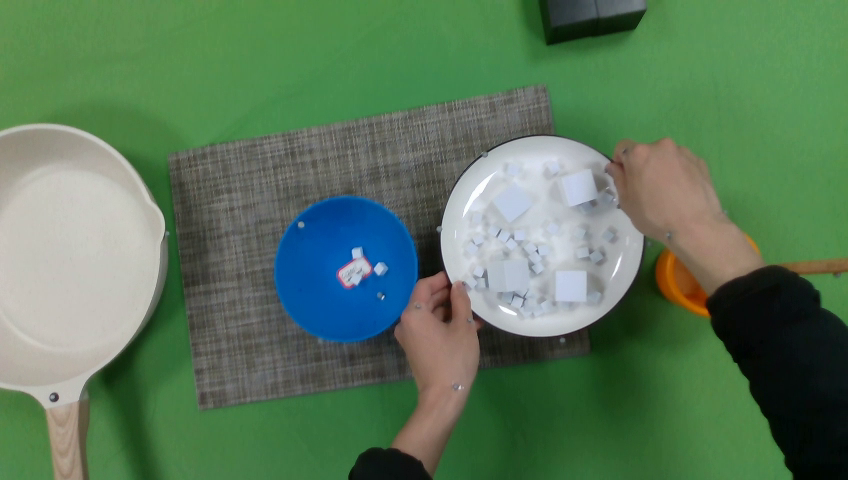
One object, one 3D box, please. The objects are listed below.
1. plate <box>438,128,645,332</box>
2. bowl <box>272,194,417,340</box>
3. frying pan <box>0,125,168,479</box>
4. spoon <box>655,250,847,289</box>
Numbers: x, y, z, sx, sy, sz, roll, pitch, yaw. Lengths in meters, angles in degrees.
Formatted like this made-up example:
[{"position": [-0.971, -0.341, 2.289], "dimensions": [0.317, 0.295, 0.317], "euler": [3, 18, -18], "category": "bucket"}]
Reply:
[{"position": [0.119, -0.010, 0.631], "dimensions": [0.207, 0.039, 0.207], "euler": [0, 92, 4], "category": "plate"}, {"position": [-0.079, 0.030, 0.654], "dimensions": [0.151, 0.077, 0.151], "euler": [0, 86, 4], "category": "bowl"}, {"position": [-0.403, 0.118, 0.668], "dimensions": [0.307, 0.103, 0.485], "euler": [-14, 77, 5], "category": "frying pan"}, {"position": [0.319, 0.025, 0.588], "dimensions": [0.022, 0.193, 0.041], "euler": [-2, 86, -40], "category": "spoon"}]
